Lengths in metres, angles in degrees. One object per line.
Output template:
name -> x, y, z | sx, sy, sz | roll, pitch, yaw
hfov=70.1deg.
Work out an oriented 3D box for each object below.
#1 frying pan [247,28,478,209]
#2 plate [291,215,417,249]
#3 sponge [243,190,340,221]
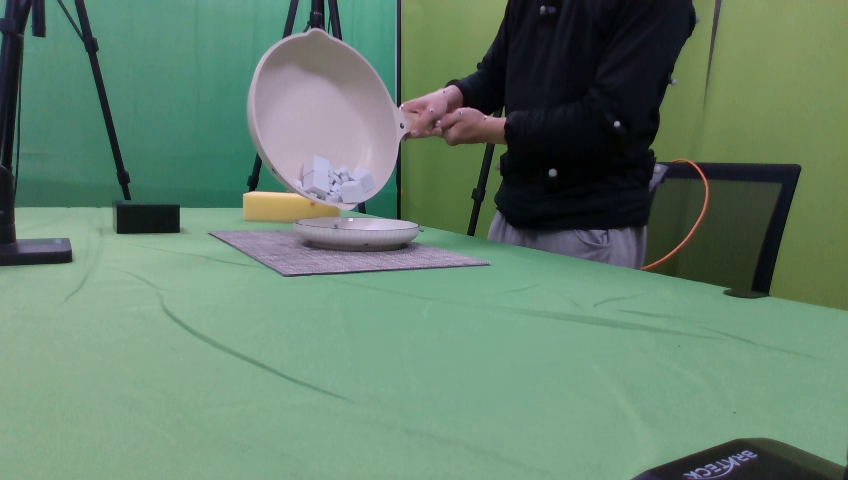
frying pan -> -0.090, -0.213, 1.095 | 0.490, 0.306, 0.102 | -9, 1, -35
plate -> -0.115, -0.013, 1.002 | 0.208, 0.039, 0.207 | 2, 7, 0
sponge -> -0.298, -0.077, 1.388 | 0.207, 0.061, 0.118 | 2, 8, -7
